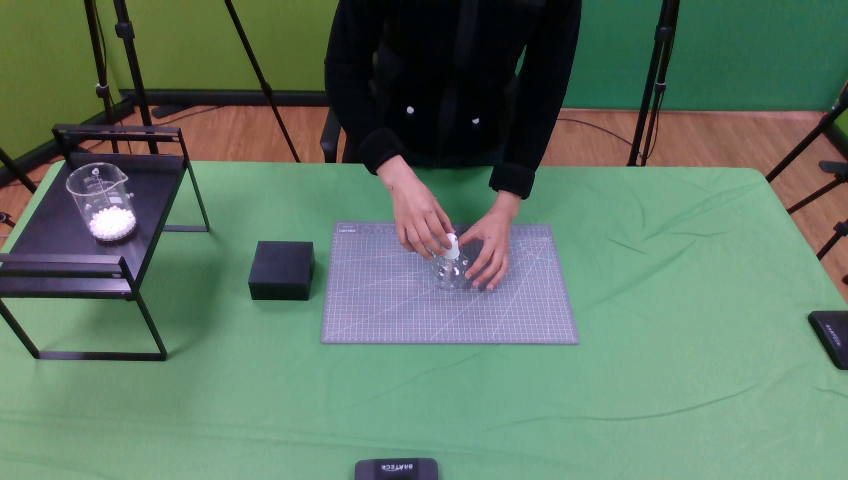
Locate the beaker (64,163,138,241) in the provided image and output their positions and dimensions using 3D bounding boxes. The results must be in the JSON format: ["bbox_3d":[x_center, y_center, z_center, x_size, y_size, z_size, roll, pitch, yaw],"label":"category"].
[{"bbox_3d":[-0.477,-0.055,0.910,0.084,0.101,0.073,-9,48,-13],"label":"beaker"}]

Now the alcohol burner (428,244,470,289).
[{"bbox_3d":[0.045,0.032,1.099,0.078,0.120,0.077,1,45,0],"label":"alcohol burner"}]

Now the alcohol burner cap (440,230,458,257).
[{"bbox_3d":[0.046,0.002,1.075,0.034,0.048,0.033,5,44,-5],"label":"alcohol burner cap"}]
